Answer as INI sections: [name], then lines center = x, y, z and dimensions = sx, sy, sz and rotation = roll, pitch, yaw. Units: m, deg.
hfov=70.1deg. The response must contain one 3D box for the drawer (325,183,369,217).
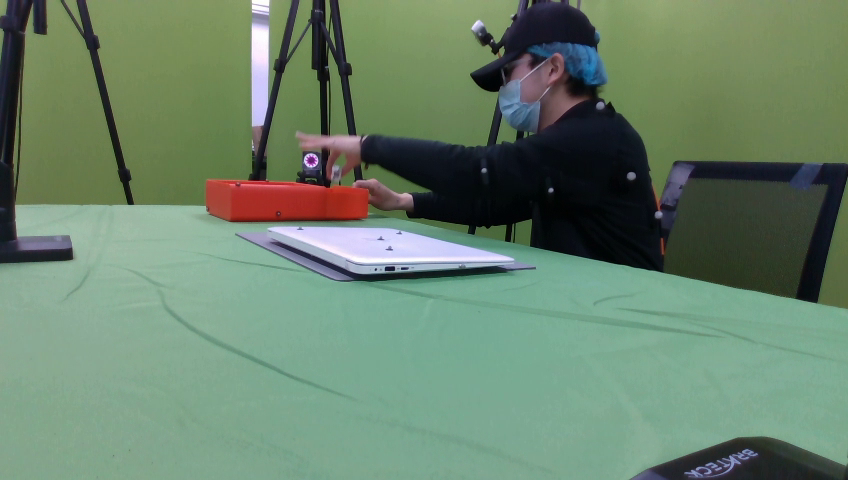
[drawer]
center = -0.267, -0.096, 1.426
dimensions = 0.213, 0.073, 0.193
rotation = -3, 10, -34

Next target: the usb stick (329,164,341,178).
[usb stick]
center = -0.208, -0.163, 1.410
dimensions = 0.021, 0.027, 0.059
rotation = 5, 12, -19

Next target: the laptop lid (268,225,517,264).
[laptop lid]
center = -0.063, 0.002, 0.877
dimensions = 0.243, 0.013, 0.355
rotation = 1, 7, -30

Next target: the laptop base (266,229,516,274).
[laptop base]
center = -0.066, 0.014, 0.877
dimensions = 0.237, 0.023, 0.352
rotation = 2, 6, -32

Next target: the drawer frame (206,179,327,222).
[drawer frame]
center = -0.356, -0.093, 1.363
dimensions = 0.215, 0.082, 0.200
rotation = -4, 10, -34
